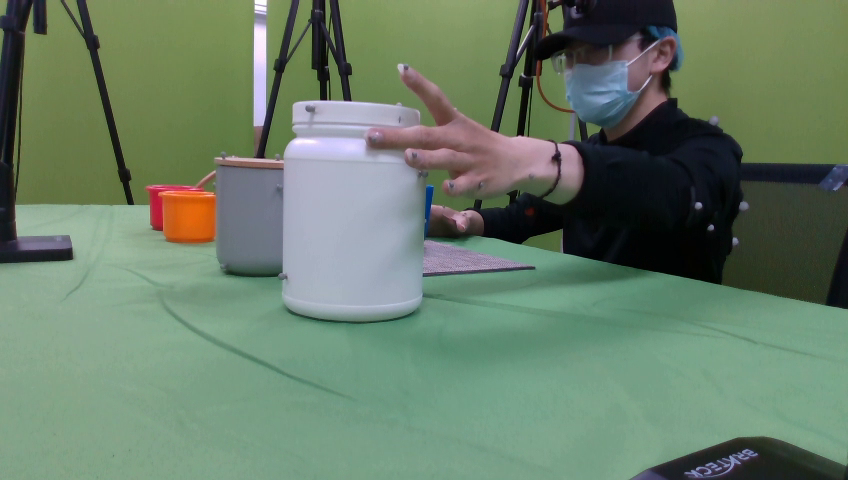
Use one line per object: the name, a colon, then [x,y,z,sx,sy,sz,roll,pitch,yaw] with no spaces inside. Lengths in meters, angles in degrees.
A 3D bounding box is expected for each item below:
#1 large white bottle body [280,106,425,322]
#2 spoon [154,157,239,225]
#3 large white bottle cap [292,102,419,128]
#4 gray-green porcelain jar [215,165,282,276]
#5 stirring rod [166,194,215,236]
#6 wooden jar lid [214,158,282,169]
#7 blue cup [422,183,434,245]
large white bottle body: [-0.065,-0.028,0.559,0.131,0.184,0.130,2,7,0]
spoon: [-0.411,-0.092,1.104,0.041,0.022,0.194,12,56,52]
large white bottle cap: [-0.061,-0.111,0.547,0.115,0.018,0.115,2,8,0]
gray-green porcelain jar: [-0.195,-0.024,0.726,0.106,0.126,0.106,3,7,0]
stirring rod: [-0.341,-0.066,0.967,0.176,0.006,0.014,-42,23,-9]
wooden jar lid: [-0.193,-0.085,0.719,0.108,0.020,0.108,2,9,0]
blue cup: [-0.029,-0.042,0.979,0.093,0.100,0.092,2,9,0]
